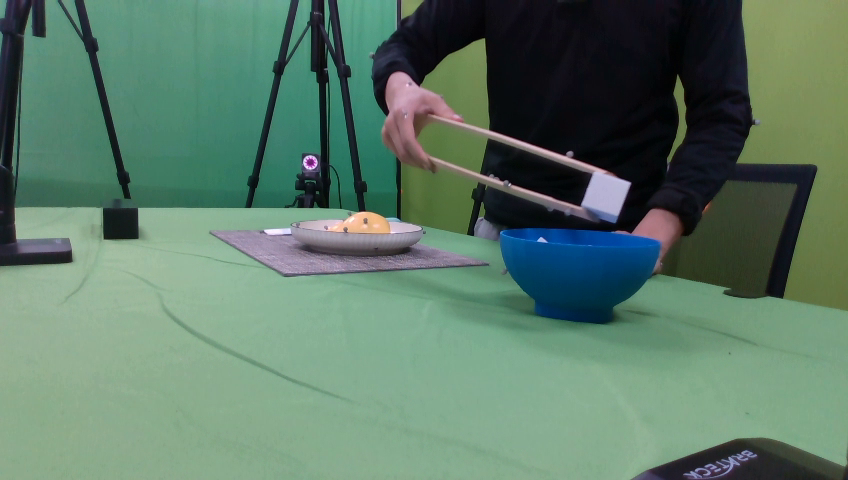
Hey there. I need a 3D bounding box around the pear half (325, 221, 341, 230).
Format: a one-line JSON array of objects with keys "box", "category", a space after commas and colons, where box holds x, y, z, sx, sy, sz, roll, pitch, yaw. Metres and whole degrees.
[{"box": [-0.126, -0.019, 1.001, 0.088, 0.031, 0.070, 7, 3, 1], "category": "pear half"}]

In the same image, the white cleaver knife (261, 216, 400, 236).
[{"box": [-0.169, -0.021, 1.156, 0.288, 0.021, 0.065, -7, 20, -33], "category": "white cleaver knife"}]

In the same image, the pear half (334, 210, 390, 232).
[{"box": [-0.107, -0.016, 0.920, 0.110, 0.056, 0.076, -5, 5, -20], "category": "pear half"}]

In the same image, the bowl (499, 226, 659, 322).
[{"box": [0.146, 0.032, 0.585, 0.151, 0.077, 0.151, 2, 7, 0], "category": "bowl"}]

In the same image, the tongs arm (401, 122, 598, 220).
[{"box": [0.068, -0.094, 0.720, 0.027, 0.050, 0.383, 24, 2, -35], "category": "tongs arm"}]

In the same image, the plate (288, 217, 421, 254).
[{"box": [-0.109, -0.007, 0.956, 0.208, 0.039, 0.207, 2, 7, 0], "category": "plate"}]

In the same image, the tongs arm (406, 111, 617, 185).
[{"box": [0.080, -0.116, 0.718, 0.028, 0.028, 0.385, 19, 8, -34], "category": "tongs arm"}]
